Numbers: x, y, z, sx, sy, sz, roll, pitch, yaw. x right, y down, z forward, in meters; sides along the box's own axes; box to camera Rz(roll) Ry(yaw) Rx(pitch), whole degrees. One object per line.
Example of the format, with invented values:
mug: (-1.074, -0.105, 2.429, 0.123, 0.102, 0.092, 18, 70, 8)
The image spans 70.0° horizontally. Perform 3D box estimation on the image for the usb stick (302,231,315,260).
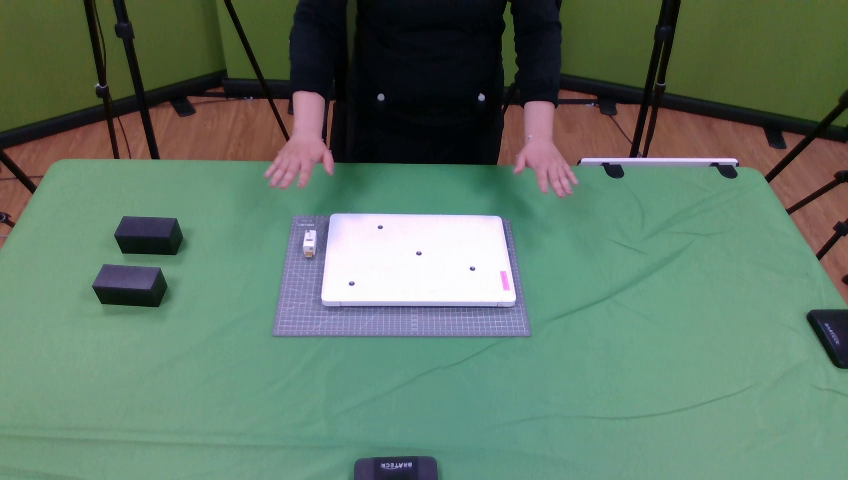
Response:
usb stick: (-0.222, 0.011, 1.163, 0.021, 0.027, 0.059, 3, 48, -5)

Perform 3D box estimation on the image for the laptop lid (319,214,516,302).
laptop lid: (-0.013, 0.029, 1.154, 0.357, 0.013, 0.240, 2, 43, -3)

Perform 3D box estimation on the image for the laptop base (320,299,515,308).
laptop base: (-0.013, 0.039, 1.160, 0.355, 0.023, 0.234, 0, 43, -4)
